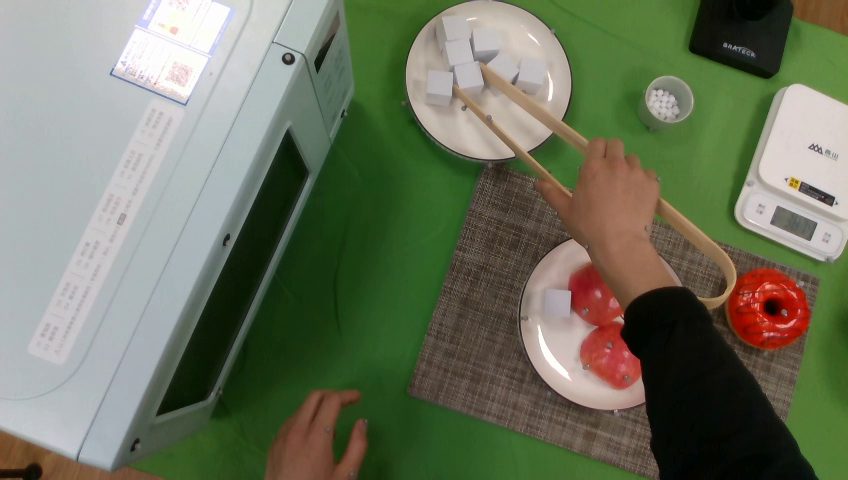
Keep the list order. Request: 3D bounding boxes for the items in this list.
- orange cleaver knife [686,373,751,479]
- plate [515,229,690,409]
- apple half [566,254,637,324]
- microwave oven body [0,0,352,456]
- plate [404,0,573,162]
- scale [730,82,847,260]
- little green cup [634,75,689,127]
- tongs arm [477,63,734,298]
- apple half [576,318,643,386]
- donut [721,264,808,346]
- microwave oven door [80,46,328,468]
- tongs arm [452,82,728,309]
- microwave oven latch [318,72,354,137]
[{"bbox_3d":[0.352,0.265,0.716,0.077,0.012,0.210,2,81,-9],"label":"orange cleaver knife"},{"bbox_3d":[0.208,0.092,0.720,0.209,0.038,0.208,1,82,-4],"label":"plate"},{"bbox_3d":[0.211,0.054,0.710,0.081,0.053,0.074,-24,81,-7],"label":"apple half"},{"bbox_3d":[-0.307,-0.073,0.593,0.326,0.260,0.440,22,82,-1],"label":"microwave oven body"},{"bbox_3d":[0.078,-0.195,0.755,0.208,0.039,0.207,1,82,-4],"label":"plate"},{"bbox_3d":[0.489,-0.089,0.773,0.149,0.031,0.200,24,82,0],"label":"scale"},{"bbox_3d":[0.298,-0.173,0.767,0.061,0.039,0.061,1,81,-4],"label":"little green cup"},{"bbox_3d":[0.181,-0.082,0.659,0.028,0.028,0.384,-36,63,-12],"label":"tongs arm"},{"bbox_3d":[0.223,0.130,0.710,0.081,0.033,0.081,0,82,0],"label":"apple half"},{"bbox_3d":[0.410,0.079,0.734,0.099,0.048,0.098,0,81,-2],"label":"donut"},{"bbox_3d":[-0.187,0.020,0.584,0.039,0.244,0.355,22,81,0],"label":"microwave oven door"},{"bbox_3d":[0.160,-0.066,0.655,0.051,0.027,0.381,-34,63,-8],"label":"tongs arm"},{"bbox_3d":[-0.110,-0.165,0.718,0.030,0.029,0.079,25,82,-1],"label":"microwave oven latch"}]
